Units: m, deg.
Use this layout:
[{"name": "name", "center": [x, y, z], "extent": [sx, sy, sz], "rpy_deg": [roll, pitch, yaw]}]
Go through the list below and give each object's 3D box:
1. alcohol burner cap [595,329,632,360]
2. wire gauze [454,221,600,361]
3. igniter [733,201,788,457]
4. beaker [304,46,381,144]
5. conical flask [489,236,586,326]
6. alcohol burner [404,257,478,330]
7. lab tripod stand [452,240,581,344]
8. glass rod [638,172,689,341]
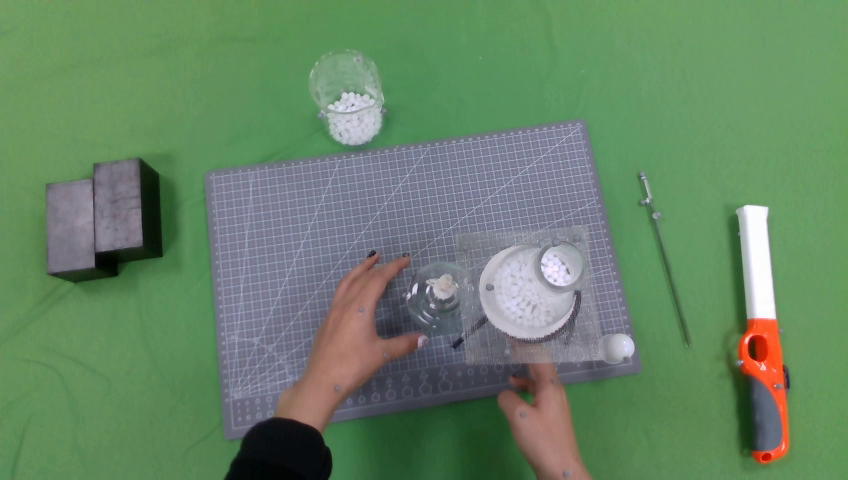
[{"name": "alcohol burner cap", "center": [0.204, 0.109, 0.643], "extent": [0.034, 0.048, 0.033], "rpy_deg": [0, 77, -1]}, {"name": "wire gauze", "center": [0.092, 0.045, 0.542], "extent": [0.125, 0.011, 0.121], "rpy_deg": [-2, 80, -3]}, {"name": "igniter", "center": [0.365, 0.092, 0.661], "extent": [0.057, 0.025, 0.275], "rpy_deg": [5, 77, -10]}, {"name": "beaker", "center": [-0.083, -0.155, 0.673], "extent": [0.084, 0.100, 0.074], "rpy_deg": [27, 78, 5]}, {"name": "conical flask", "center": [0.096, 0.028, 0.486], "extent": [0.075, 0.122, 0.075], "rpy_deg": [0, 79, -1]}, {"name": "alcohol burner", "center": [0.017, 0.052, 0.617], "extent": [0.078, 0.119, 0.077], "rpy_deg": [0, 77, 2]}, {"name": "lab tripod stand", "center": [0.094, 0.062, 0.606], "extent": [0.148, 0.132, 0.147], "rpy_deg": [0, 79, 0]}, {"name": "glass rod", "center": [0.270, 0.016, 0.686], "extent": [0.008, 0.008, 0.198], "rpy_deg": [-10, 77, -3]}]
